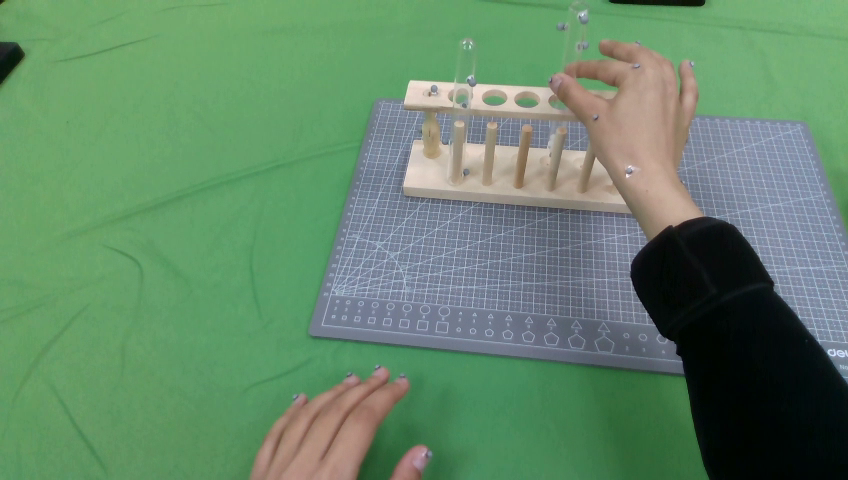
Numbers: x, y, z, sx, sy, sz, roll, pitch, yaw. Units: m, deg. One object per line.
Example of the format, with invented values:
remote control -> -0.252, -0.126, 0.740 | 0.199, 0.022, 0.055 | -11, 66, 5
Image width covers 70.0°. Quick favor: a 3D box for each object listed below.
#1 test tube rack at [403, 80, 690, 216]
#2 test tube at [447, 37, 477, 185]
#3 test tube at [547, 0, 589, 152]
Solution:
test tube rack -> 0.103, -0.083, 0.549 | 0.242, 0.086, 0.066 | 5, 53, 6
test tube -> 0.031, -0.103, 0.510 | 0.017, 0.152, 0.017 | 1, 52, -1
test tube -> 0.120, -0.131, 0.514 | 0.017, 0.151, 0.017 | -1, 53, 2
